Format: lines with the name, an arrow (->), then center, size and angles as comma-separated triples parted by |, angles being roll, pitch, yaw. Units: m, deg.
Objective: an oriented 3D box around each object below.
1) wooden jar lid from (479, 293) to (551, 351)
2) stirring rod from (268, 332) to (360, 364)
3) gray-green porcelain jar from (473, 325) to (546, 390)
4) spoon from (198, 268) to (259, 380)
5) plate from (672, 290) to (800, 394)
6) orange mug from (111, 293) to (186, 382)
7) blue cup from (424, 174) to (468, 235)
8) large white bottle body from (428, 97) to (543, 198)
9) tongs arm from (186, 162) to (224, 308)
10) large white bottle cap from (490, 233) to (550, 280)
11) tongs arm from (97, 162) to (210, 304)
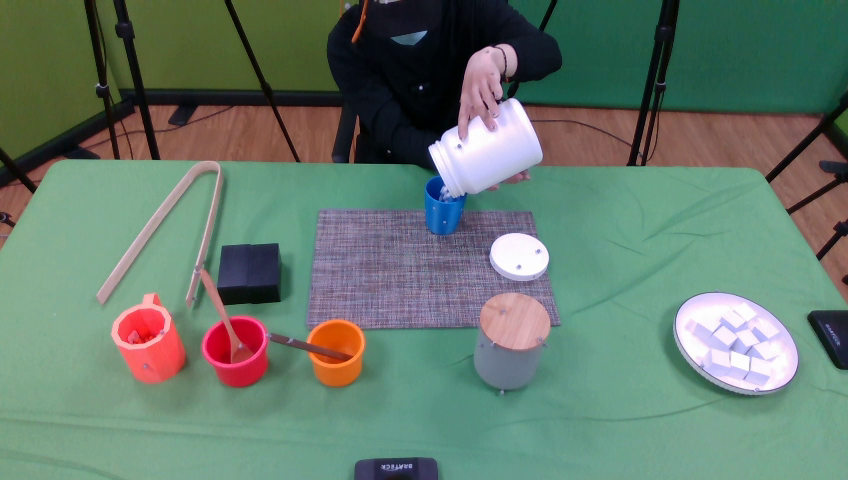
wooden jar lid -> 0.138, 0.127, 0.925 | 0.108, 0.021, 0.107 | 1, 47, -1
stirring rod -> -0.167, 0.169, 0.942 | 0.177, 0.006, 0.014 | 26, 27, -41
gray-green porcelain jar -> 0.135, 0.170, 0.969 | 0.106, 0.127, 0.105 | 2, 46, -2
spoon -> -0.312, 0.132, 0.962 | 0.041, 0.021, 0.194 | -24, 96, -22
plate -> 0.533, 0.178, 1.050 | 0.208, 0.039, 0.206 | 2, 46, -2
orange mug -> -0.435, 0.149, 0.969 | 0.083, 0.101, 0.125 | -5, 51, -8
blue cup -> 0.039, -0.065, 1.201 | 0.093, 0.101, 0.092 | 3, 47, -3
large white bottle body -> 0.112, -0.166, 1.119 | 0.184, 0.131, 0.129 | -26, 48, 7
tongs arm -> -0.436, -0.024, 1.181 | 0.051, 0.026, 0.382 | -2, 45, 0
large white bottle cap -> 0.186, 0.031, 1.177 | 0.115, 0.018, 0.114 | 2, 46, -2
tongs arm -> -0.519, -0.028, 1.183 | 0.028, 0.028, 0.385 | 6, 45, 12
